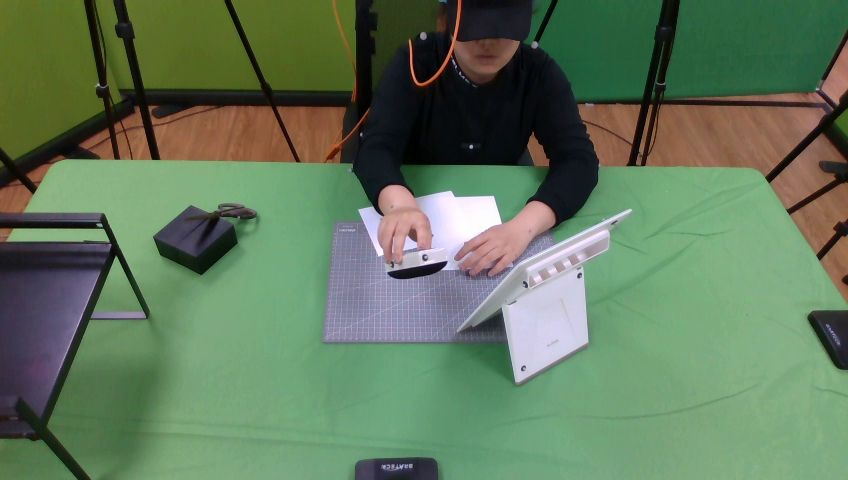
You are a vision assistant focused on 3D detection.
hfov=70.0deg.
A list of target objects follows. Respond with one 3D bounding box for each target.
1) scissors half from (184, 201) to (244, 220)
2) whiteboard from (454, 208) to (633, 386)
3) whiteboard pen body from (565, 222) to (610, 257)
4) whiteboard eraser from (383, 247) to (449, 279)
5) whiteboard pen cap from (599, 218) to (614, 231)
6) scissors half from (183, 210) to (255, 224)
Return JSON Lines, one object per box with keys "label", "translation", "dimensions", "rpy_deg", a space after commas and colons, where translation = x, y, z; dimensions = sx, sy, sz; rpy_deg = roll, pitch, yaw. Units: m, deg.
{"label": "scissors half", "translation": [-0.405, -0.054, 1.164], "dimensions": [0.040, 0.013, 0.175], "rpy_deg": [28, 18, 7]}
{"label": "whiteboard", "translation": [0.211, 0.111, 0.954], "dimensions": [0.217, 0.306, 0.143], "rpy_deg": [-22, 72, -24]}
{"label": "whiteboard pen body", "translation": [0.335, -0.004, 1.228], "dimensions": [0.141, 0.017, 0.017], "rpy_deg": [-32, 56, -29]}
{"label": "whiteboard eraser", "translation": [-0.014, 0.038, 0.945], "dimensions": [0.056, 0.112, 0.042], "rpy_deg": [-5, 84, -34]}
{"label": "whiteboard pen cap", "translation": [0.379, -0.031, 1.255], "dimensions": [0.033, 0.018, 0.018], "rpy_deg": [-33, 56, -29]}
{"label": "scissors half", "translation": [-0.389, -0.043, 1.158], "dimensions": [0.040, 0.013, 0.175], "rpy_deg": [39, 21, 23]}
